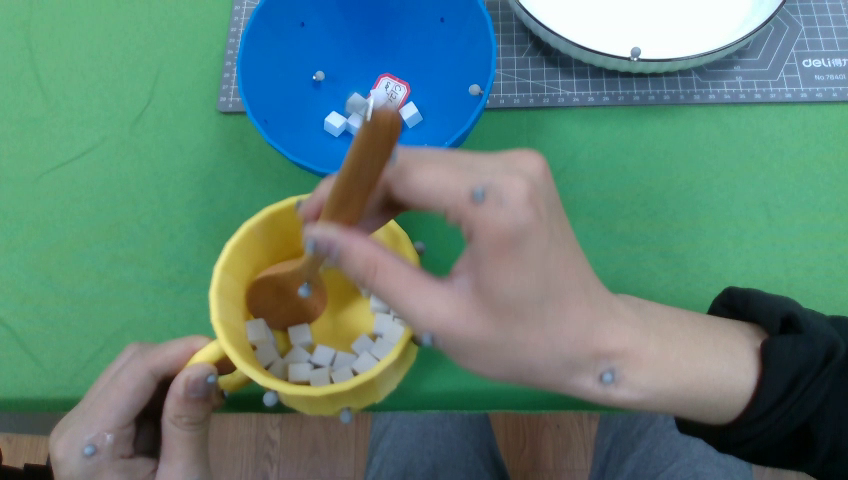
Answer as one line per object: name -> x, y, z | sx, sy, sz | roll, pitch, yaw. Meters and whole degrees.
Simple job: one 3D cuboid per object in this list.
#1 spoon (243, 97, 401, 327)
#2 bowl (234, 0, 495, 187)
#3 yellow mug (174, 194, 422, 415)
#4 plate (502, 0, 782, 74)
spoon -> -0.045, 0.003, 0.253 | 0.042, 0.194, 0.021 | 18, 62, -16
bowl -> -0.032, -0.094, 0.381 | 0.151, 0.077, 0.150 | -1, 74, 4
yellow mug -> -0.064, 0.043, 0.307 | 0.131, 0.064, 0.099 | -32, 72, -13
plate -> 0.147, -0.202, 0.429 | 0.209, 0.038, 0.207 | -1, 70, 3
